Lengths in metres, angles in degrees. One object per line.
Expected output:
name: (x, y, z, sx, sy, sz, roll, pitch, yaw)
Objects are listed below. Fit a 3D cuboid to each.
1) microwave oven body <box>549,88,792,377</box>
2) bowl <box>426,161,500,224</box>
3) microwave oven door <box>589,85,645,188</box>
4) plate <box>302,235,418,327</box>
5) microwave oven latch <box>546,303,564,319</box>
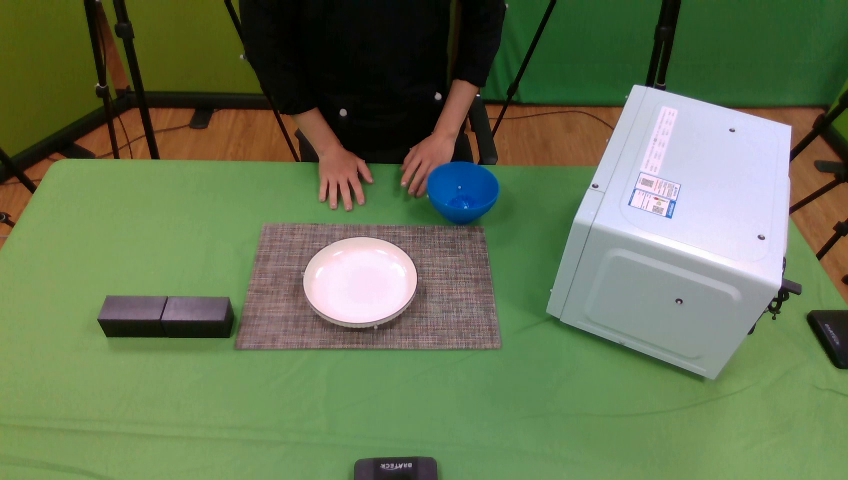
microwave oven body: (0.456, -0.028, 1.088, 0.325, 0.261, 0.440, 20, 47, 16)
bowl: (0.077, -0.086, 1.248, 0.151, 0.077, 0.150, 2, 46, -2)
microwave oven door: (0.342, -0.107, 1.149, 0.039, 0.245, 0.354, 20, 48, 15)
plate: (-0.114, 0.077, 1.098, 0.208, 0.039, 0.206, 2, 46, -2)
microwave oven latch: (0.242, 0.102, 1.081, 0.030, 0.029, 0.079, 22, 48, 17)
